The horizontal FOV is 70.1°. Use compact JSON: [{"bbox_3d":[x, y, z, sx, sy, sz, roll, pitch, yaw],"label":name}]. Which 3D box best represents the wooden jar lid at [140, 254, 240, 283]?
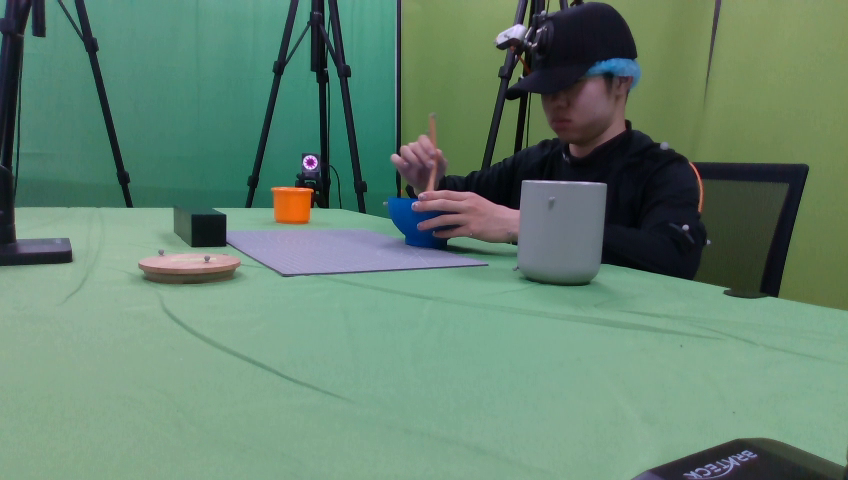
[{"bbox_3d":[-0.269,0.032,0.698,0.108,0.020,0.108,2,5,0],"label":"wooden jar lid"}]

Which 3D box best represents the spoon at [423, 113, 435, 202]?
[{"bbox_3d":[0.011,-0.126,1.053,0.022,0.193,0.041,4,-7,-9],"label":"spoon"}]

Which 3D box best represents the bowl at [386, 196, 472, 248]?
[{"bbox_3d":[0.005,-0.030,1.046,0.151,0.077,0.151,6,5,0],"label":"bowl"}]

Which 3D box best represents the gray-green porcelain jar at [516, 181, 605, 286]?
[{"bbox_3d":[0.172,-0.010,0.768,0.106,0.126,0.106,2,7,0],"label":"gray-green porcelain jar"}]
